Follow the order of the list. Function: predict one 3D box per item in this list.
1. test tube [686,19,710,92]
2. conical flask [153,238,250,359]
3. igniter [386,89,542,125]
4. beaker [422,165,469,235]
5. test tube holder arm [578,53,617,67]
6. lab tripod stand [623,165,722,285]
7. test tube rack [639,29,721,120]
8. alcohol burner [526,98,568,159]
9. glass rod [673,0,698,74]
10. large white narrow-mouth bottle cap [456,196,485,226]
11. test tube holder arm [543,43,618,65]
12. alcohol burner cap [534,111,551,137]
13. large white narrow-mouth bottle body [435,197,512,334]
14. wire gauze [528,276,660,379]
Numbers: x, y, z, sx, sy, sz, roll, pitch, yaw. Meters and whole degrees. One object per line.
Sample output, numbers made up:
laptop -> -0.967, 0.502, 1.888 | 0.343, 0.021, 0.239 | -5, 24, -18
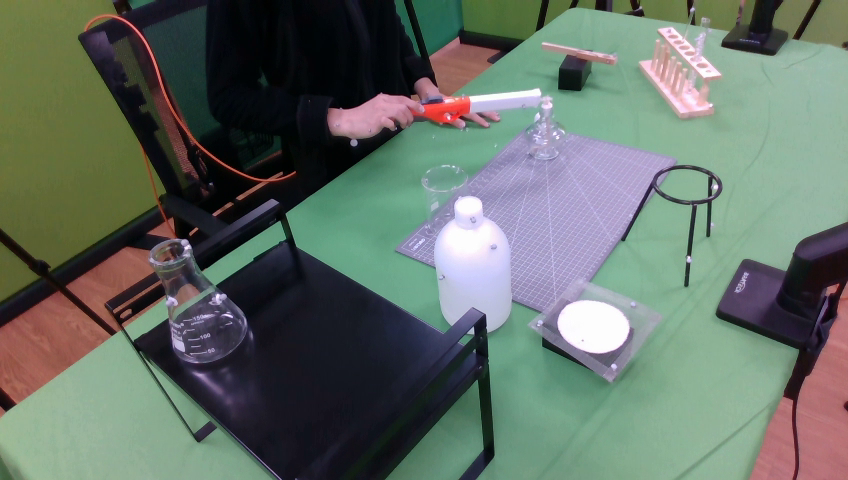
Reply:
test tube -> 0.540, -0.360, 1.193 | 0.017, 0.151, 0.017 | -4, 43, 4
conical flask -> -0.225, 0.055, 0.597 | 0.075, 0.122, 0.075 | -5, 41, 4
igniter -> 0.070, -0.233, 1.058 | 0.277, 0.057, 0.025 | -8, 53, -8
beaker -> 0.041, -0.063, 0.986 | 0.073, 0.101, 0.084 | 20, 47, 29
test tube holder arm -> 0.376, -0.393, 1.314 | 0.087, 0.015, 0.010 | 26, 51, 32
lab tripod stand -> 0.365, -0.030, 0.875 | 0.148, 0.132, 0.147 | -6, 41, 6
test tube rack -> 0.527, -0.351, 1.262 | 0.067, 0.085, 0.241 | -8, 40, 1
alcohol burner -> 0.228, -0.210, 1.118 | 0.078, 0.119, 0.077 | -5, 43, 5
glass rod -> 0.538, -0.425, 1.244 | 0.008, 0.200, 0.008 | 0, 47, 0
large white narrow-mouth bottle cap -> 0.057, -0.036, 0.749 | 0.038, 0.024, 0.037 | -4, 40, 4
test tube holder arm -> 0.344, -0.413, 1.341 | 0.177, 0.015, 0.013 | 25, 50, 31
alcohol burner cap -> 0.235, -0.231, 1.197 | 0.034, 0.048, 0.033 | -5, 38, 4
large white narrow-mouth bottle body -> 0.066, 0.028, 0.805 | 0.102, 0.195, 0.101 | -4, 40, 4
wire gauze -> 0.214, 0.103, 0.763 | 0.124, 0.011, 0.122 | 30, 52, 35
